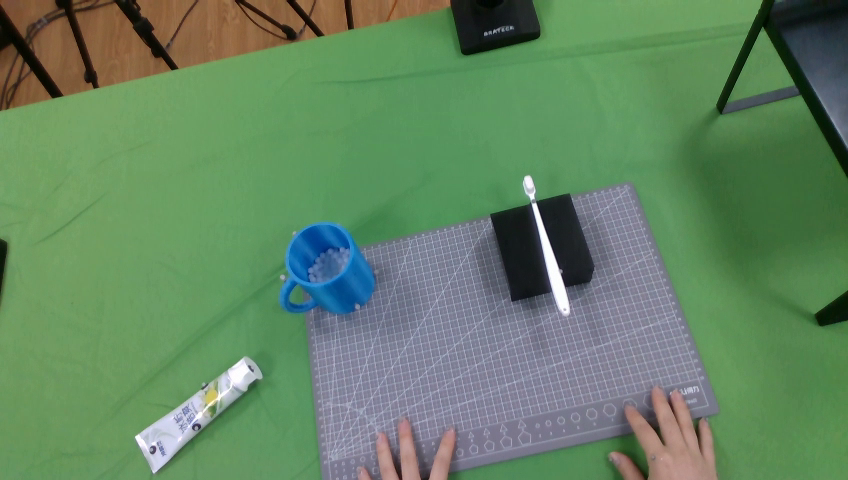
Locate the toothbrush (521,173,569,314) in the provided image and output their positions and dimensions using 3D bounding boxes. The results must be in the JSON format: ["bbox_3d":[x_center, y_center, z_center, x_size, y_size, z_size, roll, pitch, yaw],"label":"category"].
[{"bbox_3d":[0.141,0.000,0.709,0.014,0.017,0.180,-10,66,-2],"label":"toothbrush"}]

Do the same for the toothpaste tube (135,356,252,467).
[{"bbox_3d":[-0.277,0.201,0.740,0.165,0.035,0.054,-39,63,-5],"label":"toothpaste tube"}]

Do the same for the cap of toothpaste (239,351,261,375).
[{"bbox_3d":[-0.215,0.153,0.744,0.011,0.037,0.037,-39,67,-5],"label":"cap of toothpaste"}]

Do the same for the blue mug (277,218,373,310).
[{"bbox_3d":[-0.126,0.042,0.737,0.116,0.107,0.081,-39,67,-8],"label":"blue mug"}]
